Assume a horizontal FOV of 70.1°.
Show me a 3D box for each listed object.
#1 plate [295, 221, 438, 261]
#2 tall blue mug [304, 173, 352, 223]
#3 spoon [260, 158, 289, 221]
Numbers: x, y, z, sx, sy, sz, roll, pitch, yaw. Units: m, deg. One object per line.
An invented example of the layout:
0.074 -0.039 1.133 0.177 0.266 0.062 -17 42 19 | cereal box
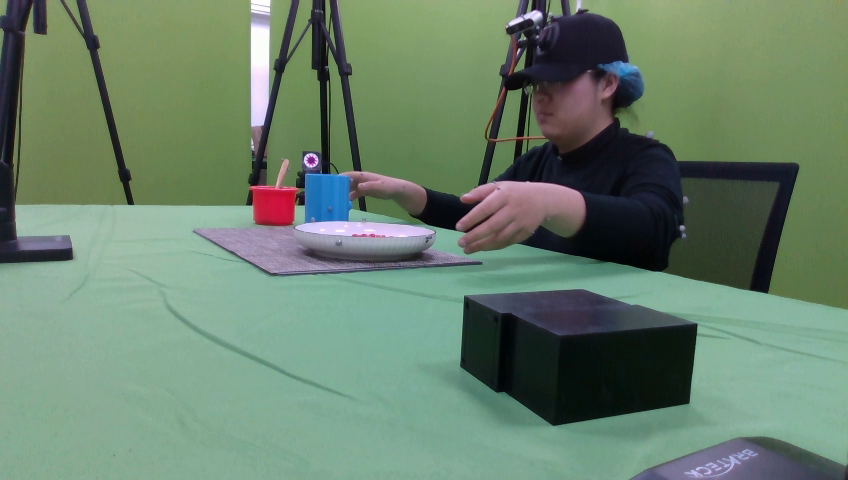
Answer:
-0.083 0.001 0.885 0.208 0.039 0.207 2 7 0 | plate
-0.178 -0.063 1.062 0.078 0.108 0.106 -4 10 -38 | tall blue mug
-0.308 -0.110 1.277 0.041 0.022 0.193 -1 51 6 | spoon
